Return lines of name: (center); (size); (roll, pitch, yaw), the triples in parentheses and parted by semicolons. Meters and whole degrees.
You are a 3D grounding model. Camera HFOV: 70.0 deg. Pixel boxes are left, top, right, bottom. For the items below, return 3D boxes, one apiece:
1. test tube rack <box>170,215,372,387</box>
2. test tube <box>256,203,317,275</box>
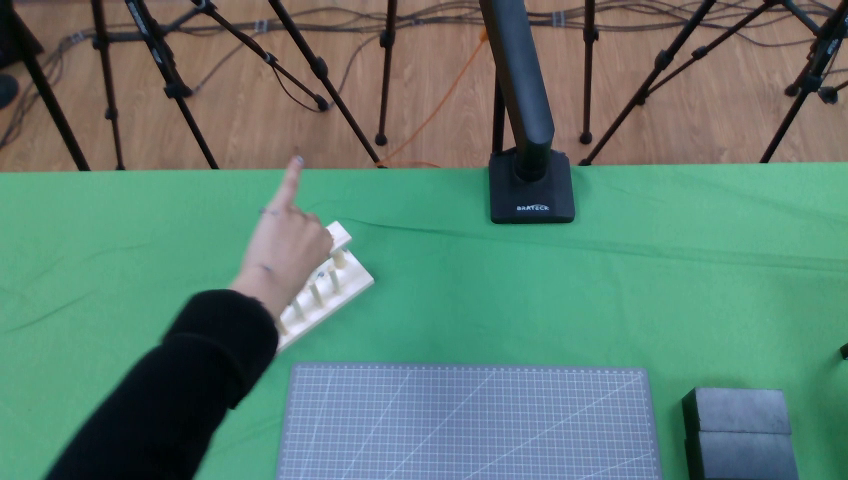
test tube rack: (-0.187, 0.077, 0.777); (0.242, 0.086, 0.066); (-36, 66, -16)
test tube: (-0.148, 0.002, 0.662); (0.017, 0.151, 0.017); (-4, 62, 9)
